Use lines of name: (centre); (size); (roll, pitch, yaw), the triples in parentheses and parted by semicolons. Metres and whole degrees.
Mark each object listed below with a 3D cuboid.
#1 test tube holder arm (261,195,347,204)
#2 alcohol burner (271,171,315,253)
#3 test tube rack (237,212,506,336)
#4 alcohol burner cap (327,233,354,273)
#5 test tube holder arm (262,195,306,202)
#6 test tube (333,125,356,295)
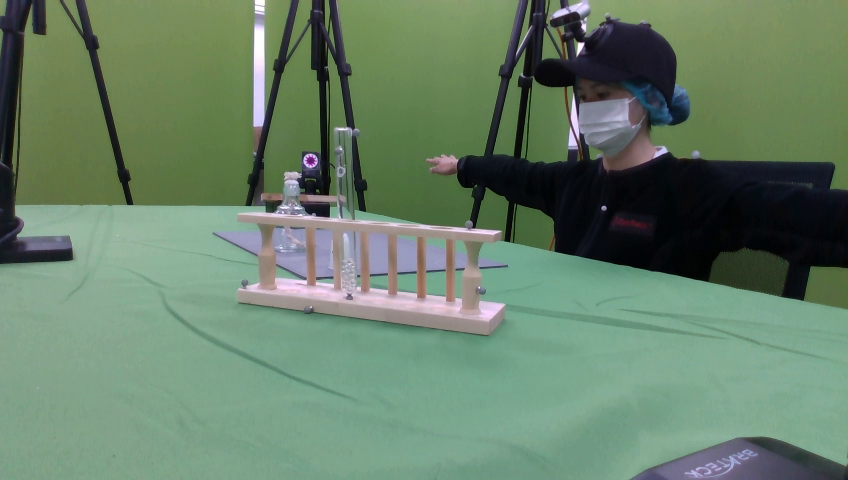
test tube holder arm: (-0.242, -0.083, 1.231); (0.179, 0.015, 0.013); (-1, 7, -32)
alcohol burner: (-0.196, -0.041, 0.884); (0.078, 0.119, 0.078); (3, 5, 0)
test tube rack: (-0.049, 0.024, 0.552); (0.242, 0.085, 0.067); (5, 8, 19)
alcohol burner cap: (-0.104, 0.016, 0.752); (0.034, 0.048, 0.034); (3, 6, 0)
test tube holder arm: (-0.278, -0.082, 1.203); (0.088, 0.015, 0.010); (0, 7, -30)
test tube: (-0.070, -0.025, 0.533); (0.017, 0.150, 0.017); (-1, 11, 0)
